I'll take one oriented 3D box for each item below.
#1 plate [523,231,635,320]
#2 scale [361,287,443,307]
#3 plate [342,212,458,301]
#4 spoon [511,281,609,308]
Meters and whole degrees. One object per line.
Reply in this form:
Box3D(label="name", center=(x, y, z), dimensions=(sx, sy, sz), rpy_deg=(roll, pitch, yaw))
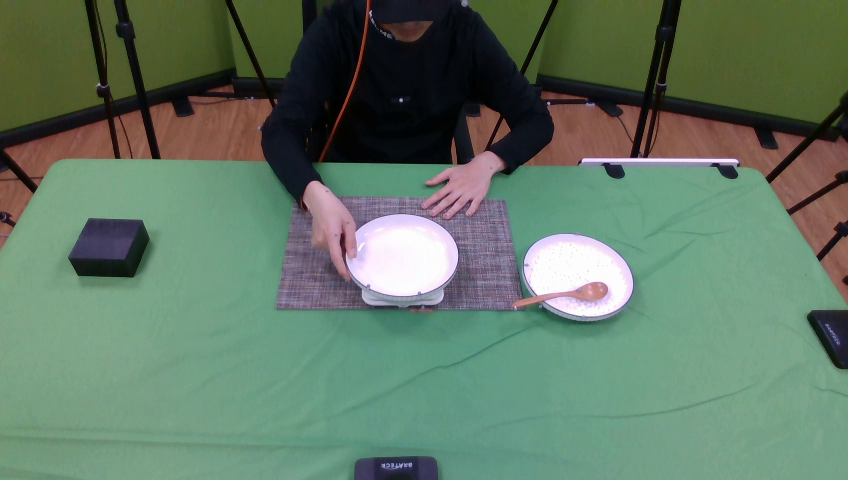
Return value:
Box3D(label="plate", center=(0.287, 0.069, 1.141), dimensions=(0.209, 0.038, 0.208), rpy_deg=(2, 46, -2))
Box3D(label="scale", center=(-0.042, 0.040, 1.143), dimensions=(0.149, 0.032, 0.199), rpy_deg=(0, 46, -4))
Box3D(label="plate", center=(-0.043, 0.033, 1.105), dimensions=(0.208, 0.039, 0.206), rpy_deg=(2, 46, -2))
Box3D(label="spoon", center=(0.245, 0.098, 1.088), dimensions=(0.194, 0.022, 0.041), rpy_deg=(-5, 47, -19))
